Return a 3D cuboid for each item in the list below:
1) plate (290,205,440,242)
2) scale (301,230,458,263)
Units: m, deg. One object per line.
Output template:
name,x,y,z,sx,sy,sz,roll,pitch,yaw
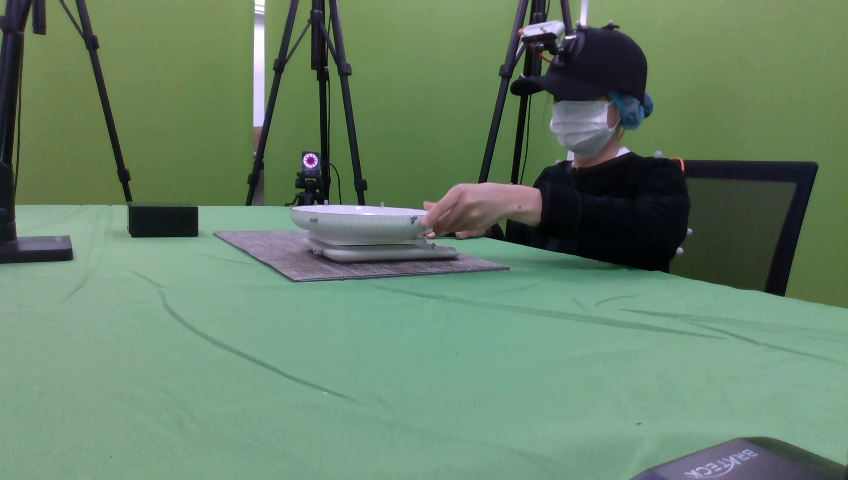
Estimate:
plate,-0.082,-0.024,0.852,0.208,0.039,0.207,3,6,0
scale,-0.065,0.007,0.878,0.202,0.031,0.148,0,8,-29
